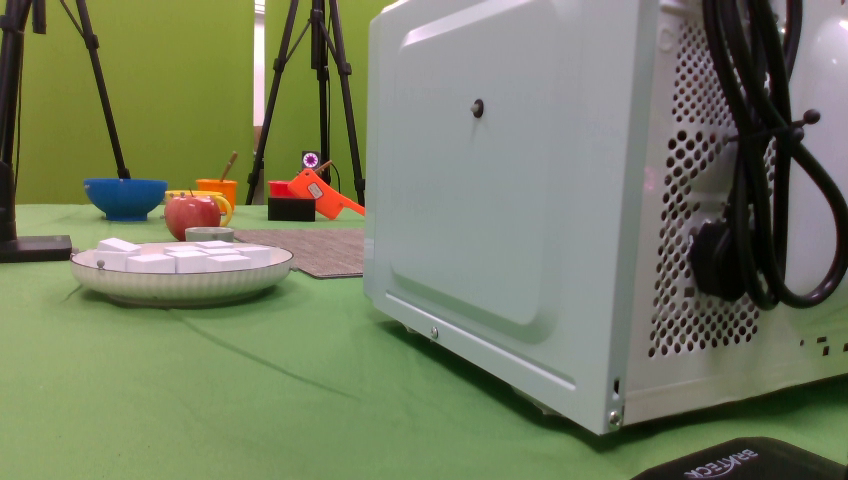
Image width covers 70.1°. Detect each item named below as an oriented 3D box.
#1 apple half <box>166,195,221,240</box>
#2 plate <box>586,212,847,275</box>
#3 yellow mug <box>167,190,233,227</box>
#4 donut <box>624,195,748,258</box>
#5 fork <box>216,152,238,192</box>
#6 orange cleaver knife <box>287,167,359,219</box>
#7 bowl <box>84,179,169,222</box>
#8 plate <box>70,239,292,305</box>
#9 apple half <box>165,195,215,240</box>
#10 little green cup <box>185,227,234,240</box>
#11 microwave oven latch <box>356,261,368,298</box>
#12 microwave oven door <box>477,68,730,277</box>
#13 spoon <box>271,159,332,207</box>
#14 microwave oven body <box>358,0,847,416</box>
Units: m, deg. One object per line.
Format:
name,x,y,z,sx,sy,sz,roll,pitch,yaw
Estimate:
apple half,-0.351,-0.031,0.935,0.081,0.074,0.053,1,11,-40
plate,0.243,0.000,0.512,0.209,0.038,0.209,2,6,0
yellow mug,-0.415,-0.057,1.132,0.130,0.064,0.100,6,8,16
donut,0.223,-0.011,0.521,0.099,0.048,0.099,8,7,-1
fork,-0.455,-0.132,1.367,0.028,0.018,0.207,-2,-35,-37
orange cleaver knife,-0.209,-0.089,1.383,0.212,0.077,0.012,31,3,-15
bowl,-0.584,-0.078,1.194,0.151,0.077,0.151,3,8,0
plate,-0.242,0.031,0.618,0.208,0.039,0.207,2,8,0
apple half,-0.377,-0.038,0.964,0.082,0.081,0.032,-4,15,-39
little green cup,-0.285,0.005,0.805,0.061,0.038,0.061,2,8,0
microwave oven latch,-0.020,0.033,0.529,0.079,0.029,0.030,0,7,-25
microwave oven door,0.219,-0.097,0.825,0.039,0.243,0.354,-5,10,-42
spoon,-0.308,-0.142,1.514,0.193,0.021,0.041,-41,6,8
microwave oven body,0.211,-0.047,0.475,0.444,0.260,0.324,-1,7,-28
